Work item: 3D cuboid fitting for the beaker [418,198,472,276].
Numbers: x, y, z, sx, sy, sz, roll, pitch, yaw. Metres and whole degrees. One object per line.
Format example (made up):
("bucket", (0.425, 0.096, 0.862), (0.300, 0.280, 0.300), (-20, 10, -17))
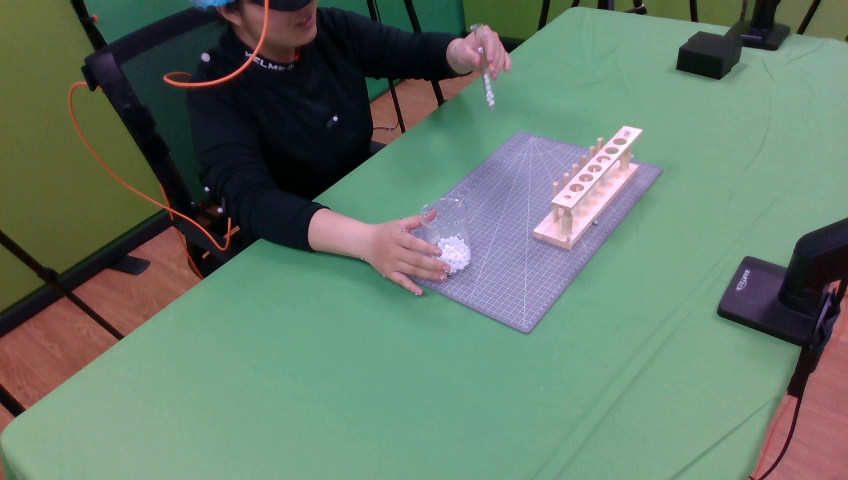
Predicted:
("beaker", (0.036, -0.004, 0.916), (0.073, 0.101, 0.084), (24, 49, 33))

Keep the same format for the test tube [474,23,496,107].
("test tube", (0.105, -0.295, 1.032), (0.017, 0.151, 0.017), (-10, 40, 9))

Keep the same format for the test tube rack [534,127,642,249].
("test tube rack", (0.271, -0.094, 0.990), (0.066, 0.085, 0.243), (23, 49, 33))
